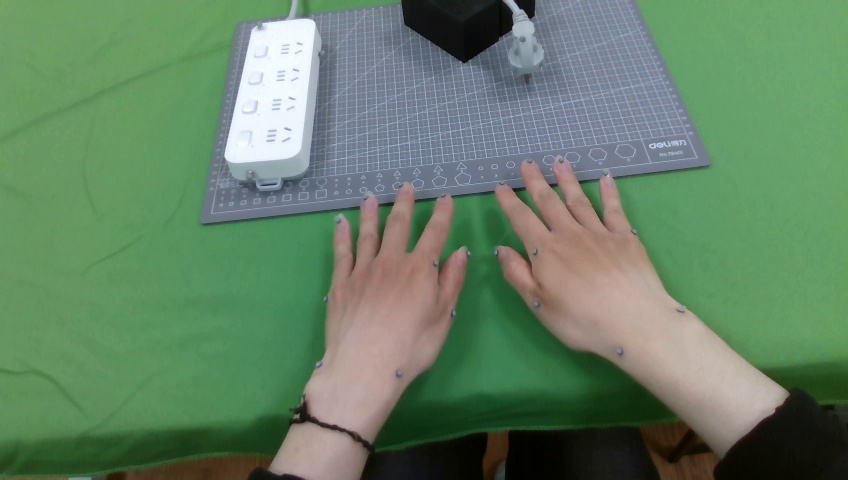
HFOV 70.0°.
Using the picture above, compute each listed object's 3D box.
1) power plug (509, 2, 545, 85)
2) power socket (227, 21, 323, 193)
[{"bbox_3d":[0.103,-0.192,0.596,0.035,0.053,0.072,4,61,13],"label":"power plug"},{"bbox_3d":[-0.144,-0.143,0.604,0.072,0.033,0.224,-4,54,3],"label":"power socket"}]
